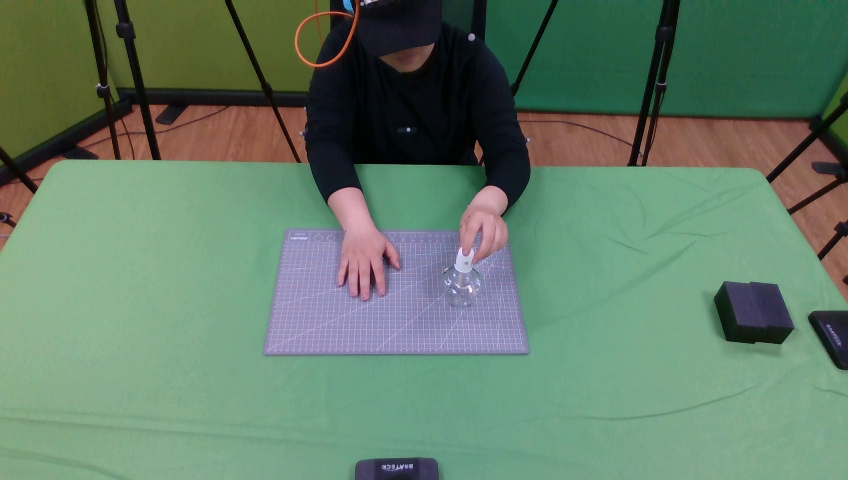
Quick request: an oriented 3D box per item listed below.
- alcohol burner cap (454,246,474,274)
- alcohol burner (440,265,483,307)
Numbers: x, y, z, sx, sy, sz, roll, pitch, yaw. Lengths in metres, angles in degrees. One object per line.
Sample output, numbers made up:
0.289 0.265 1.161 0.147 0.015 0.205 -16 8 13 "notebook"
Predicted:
0.070 0.031 1.042 0.034 0.048 0.033 4 41 -4 "alcohol burner cap"
0.068 0.064 1.076 0.078 0.120 0.077 1 45 -1 "alcohol burner"
